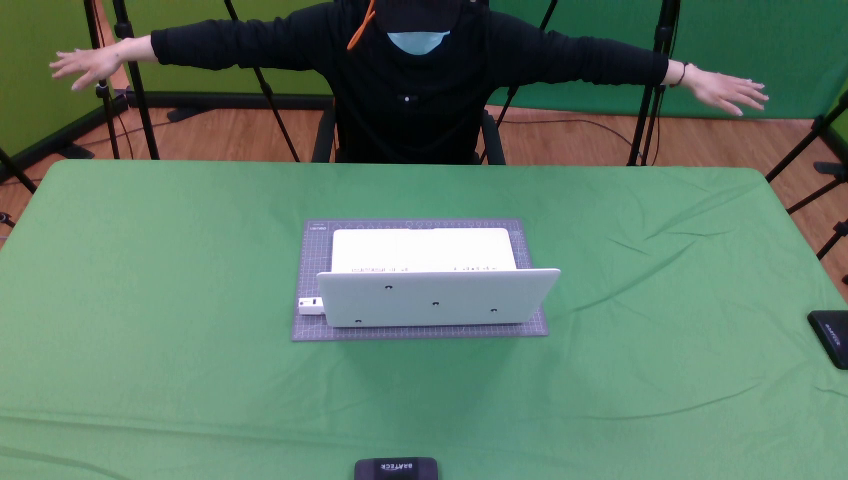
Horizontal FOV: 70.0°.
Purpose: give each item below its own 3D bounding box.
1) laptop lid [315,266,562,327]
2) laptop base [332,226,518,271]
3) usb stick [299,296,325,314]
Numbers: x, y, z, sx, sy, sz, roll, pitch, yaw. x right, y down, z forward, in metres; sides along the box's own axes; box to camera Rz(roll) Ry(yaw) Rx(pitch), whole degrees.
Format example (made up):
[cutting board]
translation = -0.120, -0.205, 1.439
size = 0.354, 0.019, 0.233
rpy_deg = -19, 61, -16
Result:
[laptop lid]
translation = 0.018, 0.094, 0.949
size = 0.357, 0.242, 0.013
rpy_deg = 0, 64, -6
[laptop base]
translation = 0.004, 0.062, 1.136
size = 0.355, 0.023, 0.234
rpy_deg = -1, 44, -5
[usb stick]
translation = -0.187, 0.114, 1.057
size = 0.059, 0.027, 0.021
rpy_deg = 2, 45, -5
